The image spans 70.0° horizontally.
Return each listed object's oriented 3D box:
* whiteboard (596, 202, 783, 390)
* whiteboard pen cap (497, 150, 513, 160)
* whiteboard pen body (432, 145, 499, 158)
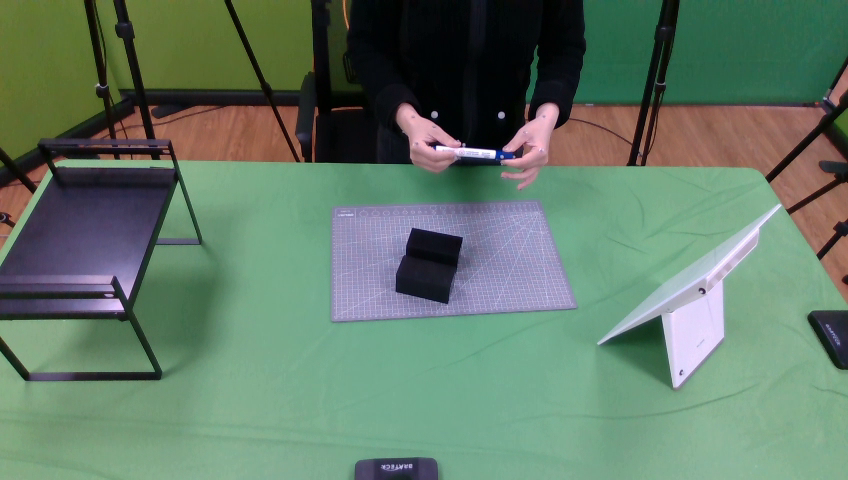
[{"bbox_3d":[0.459,0.112,0.968,0.217,0.306,0.143,-31,74,-29],"label":"whiteboard"},{"bbox_3d":[0.142,-0.153,1.090,0.033,0.018,0.018,3,46,-5],"label":"whiteboard pen cap"},{"bbox_3d":[0.085,-0.157,1.083,0.141,0.017,0.017,4,46,-3],"label":"whiteboard pen body"}]
